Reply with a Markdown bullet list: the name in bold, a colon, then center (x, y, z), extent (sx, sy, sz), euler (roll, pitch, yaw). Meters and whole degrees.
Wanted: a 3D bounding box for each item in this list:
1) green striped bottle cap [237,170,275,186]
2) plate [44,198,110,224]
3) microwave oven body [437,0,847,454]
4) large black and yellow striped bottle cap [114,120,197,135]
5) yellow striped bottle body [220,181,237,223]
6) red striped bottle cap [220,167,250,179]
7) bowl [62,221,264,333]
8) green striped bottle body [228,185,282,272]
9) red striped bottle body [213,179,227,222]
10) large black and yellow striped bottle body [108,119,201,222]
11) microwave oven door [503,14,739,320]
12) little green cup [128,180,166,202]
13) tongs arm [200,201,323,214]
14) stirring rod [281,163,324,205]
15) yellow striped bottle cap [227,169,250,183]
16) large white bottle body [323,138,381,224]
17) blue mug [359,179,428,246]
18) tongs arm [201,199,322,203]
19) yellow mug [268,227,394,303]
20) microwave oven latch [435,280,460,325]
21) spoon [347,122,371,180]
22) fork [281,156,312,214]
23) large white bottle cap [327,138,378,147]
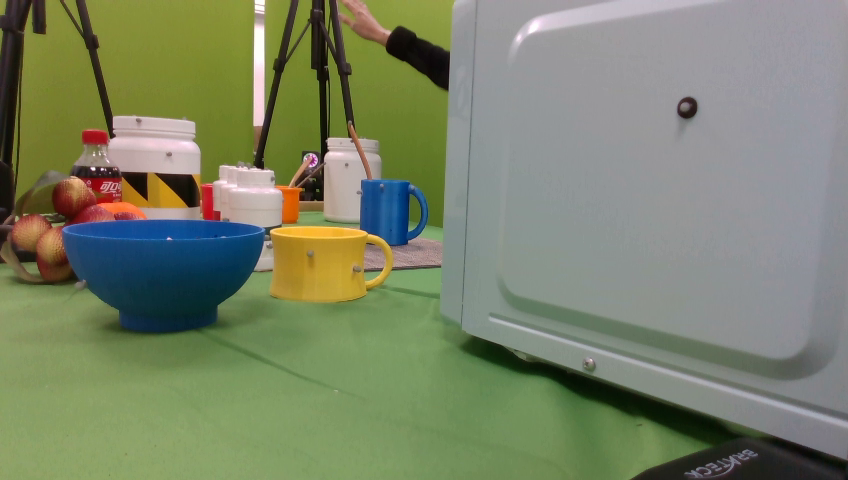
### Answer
- **green striped bottle cap**: center (-0.205, -0.075, 0.737), extent (0.044, 0.020, 0.044), euler (1, 6, 0)
- **plate**: center (-0.617, -0.056, 1.179), extent (0.209, 0.038, 0.209), euler (3, 7, 0)
- **microwave oven body**: center (0.280, -0.040, 0.465), extent (0.444, 0.260, 0.324), euler (-3, 9, -41)
- **large black and yellow striped bottle cap**: center (-0.407, -0.171, 0.920), extent (0.115, 0.019, 0.115), euler (2, 9, 0)
- **yellow striped bottle body**: center (-0.246, -0.036, 0.825), extent (0.063, 0.120, 0.063), euler (3, 8, 0)
- **red striped bottle cap**: center (-0.281, -0.100, 0.901), extent (0.044, 0.017, 0.044), euler (-1, 5, 0)
- **bowl**: center (-0.209, 0.029, 0.496), extent (0.151, 0.077, 0.151), euler (2, 7, 0)
- **green striped bottle body**: center (-0.208, -0.023, 0.745), extent (0.063, 0.119, 0.063), euler (2, 7, 0)
- **red striped bottle body**: center (-0.284, -0.048, 0.909), extent (0.063, 0.119, 0.063), euler (3, 10, 0)
- **large black and yellow striped bottle body**: center (-0.412, -0.088, 0.930), extent (0.131, 0.184, 0.130), euler (3, 7, 0)
- **microwave oven door**: center (0.217, -0.065, 0.600), extent (0.358, 0.243, 0.039), euler (-4, 10, -41)
- **little green cup**: center (-0.485, -0.087, 1.062), extent (0.061, 0.038, 0.061), euler (-1, 6, 0)
- **tongs arm**: center (-0.378, -0.079, 1.440), extent (0.387, 0.026, 0.050), euler (-4, 7, -45)
- **stirring rod**: center (-0.278, -0.105, 1.293), extent (0.176, 0.006, 0.014), euler (-47, 24, -18)
- **yellow striped bottle cap**: center (-0.243, -0.086, 0.818), extent (0.044, 0.018, 0.044), euler (4, 7, 0)
- **large white bottle body**: center (-0.163, -0.135, 1.368), extent (0.131, 0.184, 0.130), euler (2, 7, 0)
- **blue mug**: center (-0.051, -0.046, 1.003), extent (0.116, 0.106, 0.082), euler (4, 8, 12)
- **tongs arm**: center (-0.434, -0.088, 1.508), extent (0.390, 0.027, 0.028), euler (-1, 2, -30)
- **yellow mug**: center (-0.094, 0.023, 0.629), extent (0.131, 0.064, 0.099), euler (0, 7, -22)
- **microwave oven latch**: center (0.044, 0.045, 0.470), extent (0.079, 0.029, 0.030), euler (-3, 8, -39)
- **spoon**: center (-0.097, -0.107, 1.016), extent (0.021, 0.193, 0.041), euler (-15, -3, 0)
- **fork**: center (-0.289, -0.116, 1.320), extent (0.028, 0.019, 0.207), euler (1, 49, 24)
- **large white bottle cap**: center (-0.160, -0.218, 1.357), extent (0.115, 0.018, 0.115), euler (2, 8, 0)
